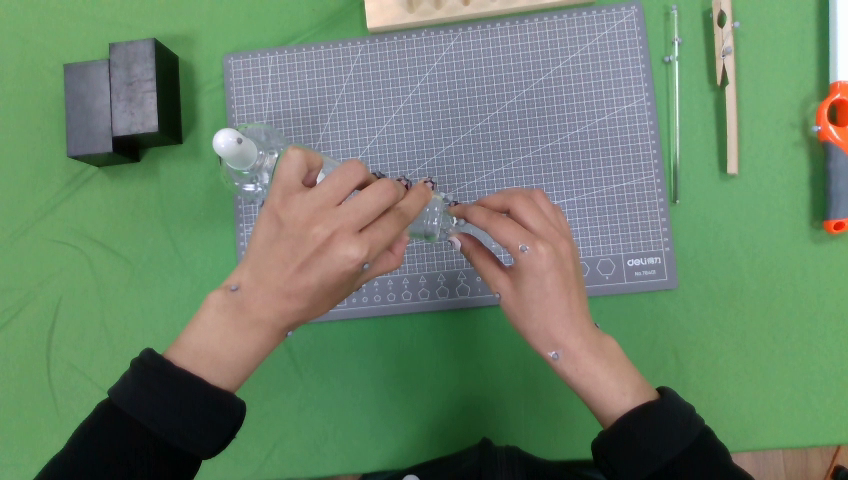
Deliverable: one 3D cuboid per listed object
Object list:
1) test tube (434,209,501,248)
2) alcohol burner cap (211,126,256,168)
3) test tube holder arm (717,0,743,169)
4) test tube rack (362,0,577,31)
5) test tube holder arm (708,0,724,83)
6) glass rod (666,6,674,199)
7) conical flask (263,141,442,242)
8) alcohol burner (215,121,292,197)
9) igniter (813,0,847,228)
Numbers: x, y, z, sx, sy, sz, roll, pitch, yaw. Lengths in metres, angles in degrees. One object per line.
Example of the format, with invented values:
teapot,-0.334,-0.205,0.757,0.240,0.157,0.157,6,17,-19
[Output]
test tube,0.042,-0.008,0.526,0.017,0.151,0.017,-3,82,22
alcohol burner cap,-0.179,-0.088,0.561,0.034,0.048,0.033,0,81,2
test tube holder arm,0.306,-0.160,0.609,0.013,0.015,0.178,-8,84,41
test tube rack,0.050,-0.276,0.608,0.242,0.085,0.066,-7,85,4
test tube holder arm,0.299,-0.204,0.616,0.010,0.015,0.087,-7,85,41
glass rod,0.252,-0.141,0.619,0.008,0.008,0.199,1,88,5
conical flask,-0.049,-0.028,0.446,0.122,0.075,0.075,9,86,4
alcohol burner,-0.175,-0.084,0.597,0.078,0.119,0.077,-1,85,8
igniter,0.412,-0.149,0.596,0.057,0.025,0.276,3,87,-5
